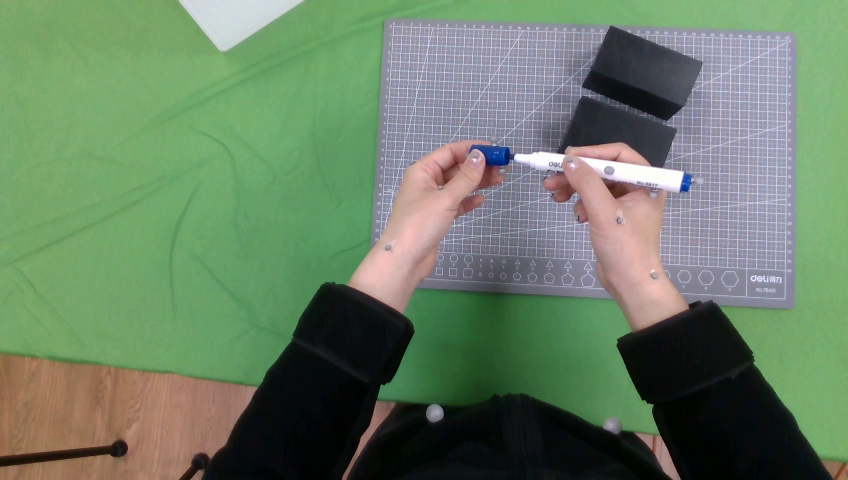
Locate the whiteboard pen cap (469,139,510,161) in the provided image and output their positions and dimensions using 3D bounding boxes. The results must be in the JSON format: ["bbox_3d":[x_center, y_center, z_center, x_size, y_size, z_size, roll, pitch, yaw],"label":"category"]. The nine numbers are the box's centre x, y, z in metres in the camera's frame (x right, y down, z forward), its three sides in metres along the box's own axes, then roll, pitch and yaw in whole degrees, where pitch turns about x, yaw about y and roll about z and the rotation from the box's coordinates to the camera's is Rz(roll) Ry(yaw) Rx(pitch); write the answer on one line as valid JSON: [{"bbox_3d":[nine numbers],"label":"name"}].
[{"bbox_3d":[0.055,-0.074,0.498,0.033,0.018,0.018,6,85,23],"label":"whiteboard pen cap"}]

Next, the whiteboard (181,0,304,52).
[{"bbox_3d":[-0.207,-0.380,0.579,0.217,0.308,0.142,-33,64,0],"label":"whiteboard"}]

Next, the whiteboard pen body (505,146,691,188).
[{"bbox_3d":[0.128,-0.058,0.463,0.140,0.017,0.017,13,85,25],"label":"whiteboard pen body"}]
